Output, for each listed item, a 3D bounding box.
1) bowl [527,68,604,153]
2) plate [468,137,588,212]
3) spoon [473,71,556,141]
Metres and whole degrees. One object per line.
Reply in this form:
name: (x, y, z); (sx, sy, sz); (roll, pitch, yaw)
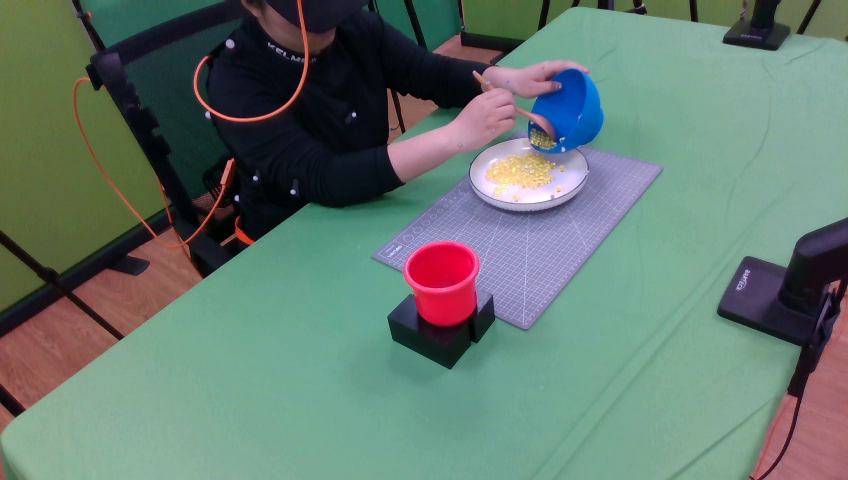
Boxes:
bowl: (0.259, -0.214, 1.057); (0.077, 0.151, 0.150); (17, 31, -28)
plate: (0.182, -0.111, 1.064); (0.207, 0.039, 0.206); (-5, 40, 5)
spoon: (0.160, -0.233, 1.052); (0.195, 0.021, 0.041); (29, 37, -17)
